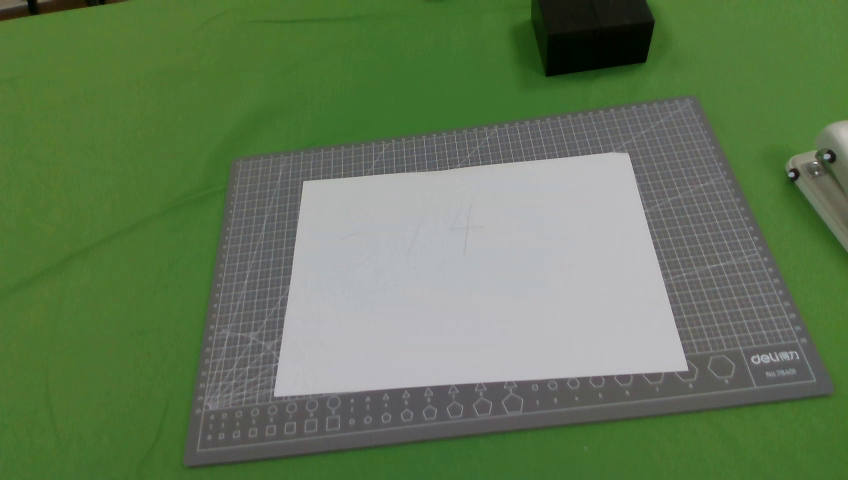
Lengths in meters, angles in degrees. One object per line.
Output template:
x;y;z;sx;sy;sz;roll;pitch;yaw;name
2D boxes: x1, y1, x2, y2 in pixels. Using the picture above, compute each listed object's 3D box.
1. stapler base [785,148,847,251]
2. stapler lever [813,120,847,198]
0.336;-0.028;0.474;0.041;0.025;0.129;-15;56;1;stapler base
0.333;-0.040;0.452;0.027;0.040;0.117;-16;57;1;stapler lever
